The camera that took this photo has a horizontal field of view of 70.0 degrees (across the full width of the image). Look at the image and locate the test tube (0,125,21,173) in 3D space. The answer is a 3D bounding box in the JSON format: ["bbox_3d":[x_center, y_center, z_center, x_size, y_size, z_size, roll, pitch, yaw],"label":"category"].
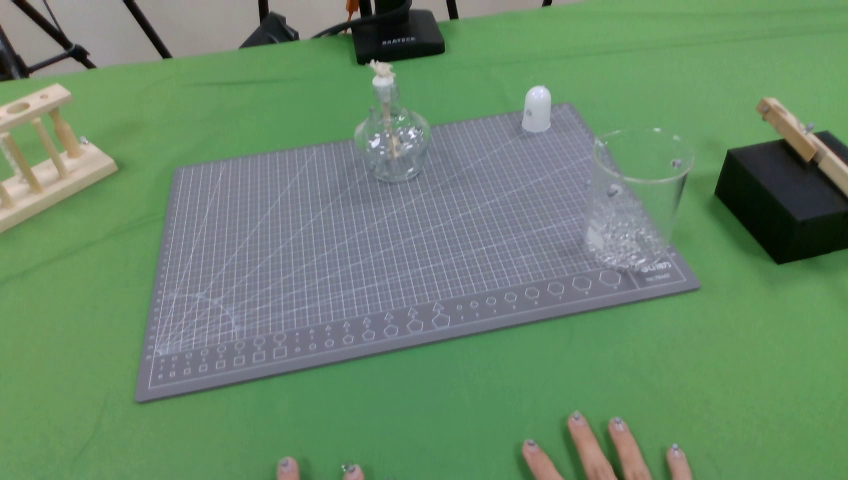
[{"bbox_3d":[-0.428,-0.129,0.589,0.017,0.151,0.017,-1,42,2],"label":"test tube"}]

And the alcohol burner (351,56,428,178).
[{"bbox_3d":[-0.036,-0.122,0.596,0.078,0.120,0.077,-4,43,4],"label":"alcohol burner"}]

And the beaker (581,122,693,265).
[{"bbox_3d":[0.167,-0.036,0.500,0.074,0.101,0.083,-32,49,-25],"label":"beaker"}]

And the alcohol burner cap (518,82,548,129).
[{"bbox_3d":[0.120,-0.149,0.662,0.034,0.048,0.033,-2,44,3],"label":"alcohol burner cap"}]

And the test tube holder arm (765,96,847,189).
[{"bbox_3d":[0.338,-0.074,0.516,0.013,0.015,0.176,-6,43,-9],"label":"test tube holder arm"}]

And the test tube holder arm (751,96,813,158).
[{"bbox_3d":[0.325,-0.103,0.547,0.010,0.015,0.087,-5,43,-8],"label":"test tube holder arm"}]

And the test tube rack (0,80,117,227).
[{"bbox_3d":[-0.444,-0.060,0.592,0.066,0.086,0.242,30,54,31],"label":"test tube rack"}]
